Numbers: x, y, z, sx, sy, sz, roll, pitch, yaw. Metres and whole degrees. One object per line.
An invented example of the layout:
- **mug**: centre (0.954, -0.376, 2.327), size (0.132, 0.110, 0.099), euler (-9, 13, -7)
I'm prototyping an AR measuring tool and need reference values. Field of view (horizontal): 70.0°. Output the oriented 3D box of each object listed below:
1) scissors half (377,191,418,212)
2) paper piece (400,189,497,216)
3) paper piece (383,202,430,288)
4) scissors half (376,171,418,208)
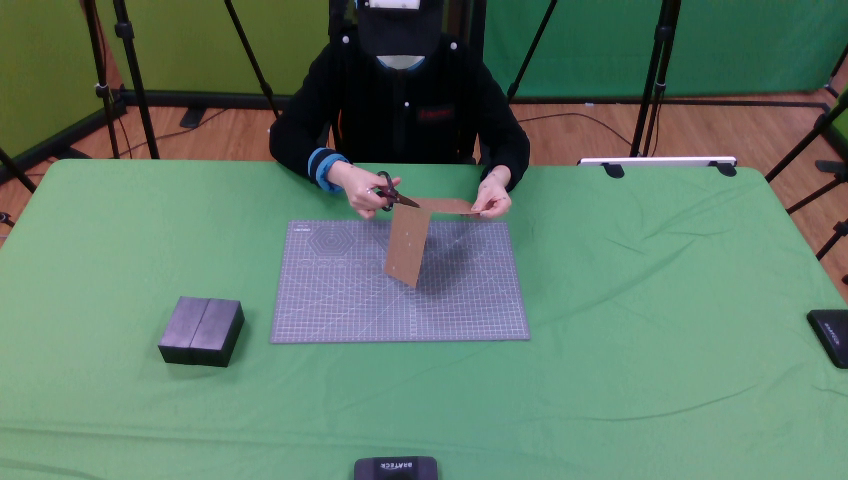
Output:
- **scissors half**: centre (-0.050, -0.070, 1.126), size (0.013, 0.040, 0.174), euler (-9, 9, -26)
- **paper piece**: centre (0.042, -0.067, 1.105), size (0.139, 0.008, 0.135), euler (4, 19, -28)
- **paper piece**: centre (-0.035, 0.005, 1.079), size (0.004, 0.135, 0.135), euler (8, 6, -30)
- **scissors half**: centre (-0.051, -0.090, 1.120), size (0.013, 0.040, 0.174), euler (-14, 33, -24)
